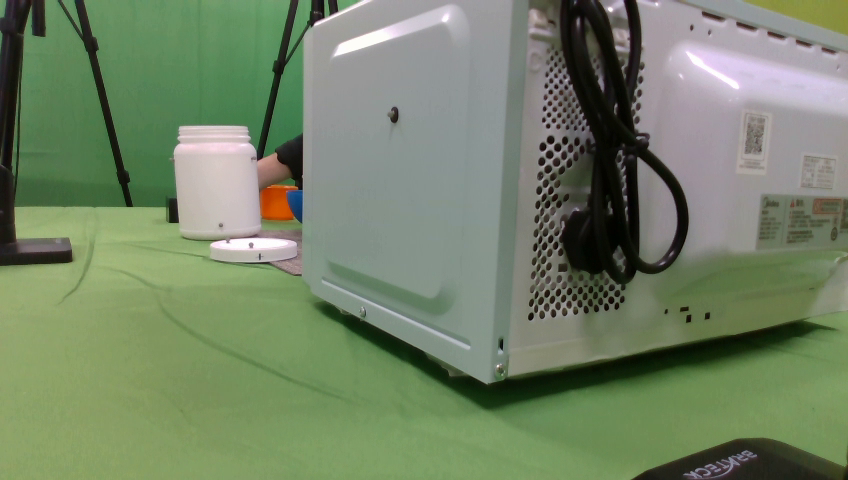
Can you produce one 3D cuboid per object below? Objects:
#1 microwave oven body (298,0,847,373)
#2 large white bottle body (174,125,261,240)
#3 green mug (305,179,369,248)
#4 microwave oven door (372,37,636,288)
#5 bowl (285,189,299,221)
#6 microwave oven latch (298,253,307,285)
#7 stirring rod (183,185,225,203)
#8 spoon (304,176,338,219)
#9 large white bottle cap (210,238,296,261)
[{"bbox_3d":[0.151,-0.055,0.542,0.444,0.260,0.324,-2,7,-33],"label":"microwave oven body"},{"bbox_3d":[-0.349,-0.100,1.025,0.131,0.184,0.130,-1,9,0],"label":"large white bottle body"},{"bbox_3d":[-0.133,-0.044,0.977,0.092,0.105,0.126,6,8,32],"label":"green mug"},{"bbox_3d":[0.109,-0.080,0.686,0.358,0.243,0.039,-2,9,-33],"label":"microwave oven door"},{"bbox_3d":[-0.180,-0.050,1.113,0.151,0.077,0.151,3,8,0],"label":"bowl"},{"bbox_3d":[-0.081,0.027,0.582,0.079,0.029,0.030,-1,7,-32],"label":"microwave oven latch"},{"bbox_3d":[-0.471,-0.099,1.291,0.175,0.006,0.014,19,18,42],"label":"stirring rod"},{"bbox_3d":[-0.201,-0.084,1.146,0.042,0.021,0.193,2,31,-24],"label":"spoon"},{"bbox_3d":[-0.236,0.012,0.839,0.115,0.018,0.115,1,7,0],"label":"large white bottle cap"}]
